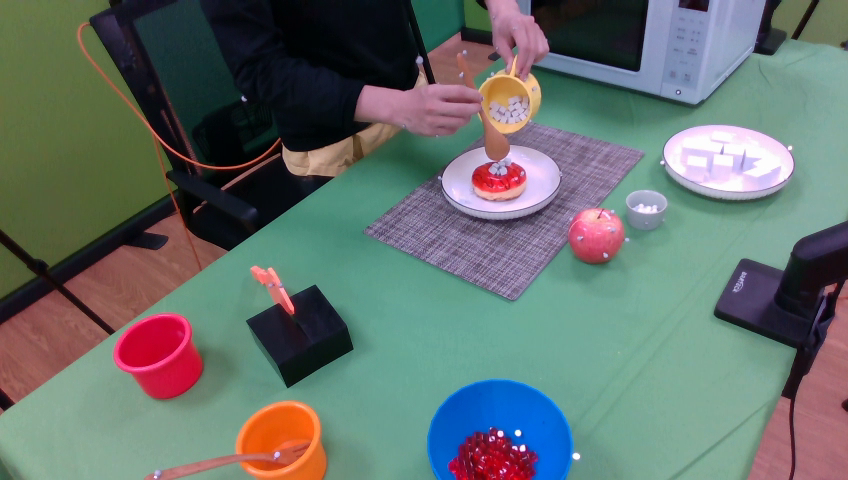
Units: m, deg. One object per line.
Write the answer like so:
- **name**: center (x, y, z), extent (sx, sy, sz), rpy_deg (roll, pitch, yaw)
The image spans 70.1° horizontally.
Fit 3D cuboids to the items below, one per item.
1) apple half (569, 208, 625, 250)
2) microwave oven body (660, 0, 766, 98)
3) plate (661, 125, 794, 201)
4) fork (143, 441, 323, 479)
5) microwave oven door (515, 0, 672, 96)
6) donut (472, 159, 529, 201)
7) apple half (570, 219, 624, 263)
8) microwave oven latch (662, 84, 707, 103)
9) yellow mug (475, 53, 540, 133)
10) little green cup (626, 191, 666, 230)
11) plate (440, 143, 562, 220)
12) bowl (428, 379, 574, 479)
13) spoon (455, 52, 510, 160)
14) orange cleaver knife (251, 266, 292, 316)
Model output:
- **apple half**: center (0.262, -0.014, 0.913), extent (0.080, 0.075, 0.053), rpy_deg (5, 37, 20)
- **microwave oven body**: center (0.472, -0.513, 1.317), extent (0.438, 0.261, 0.327), rpy_deg (26, 51, 34)
- **plate**: center (0.513, -0.128, 1.035), extent (0.207, 0.039, 0.206), rpy_deg (-4, 40, 4)
- **fork**: center (-0.189, 0.231, 0.631), extent (0.028, 0.018, 0.209), rpy_deg (35, 13, 37)
- **microwave oven door**: center (0.343, -0.455, 1.259), extent (0.353, 0.245, 0.039), rpy_deg (26, 51, 33)
- **donut**: center (0.132, -0.105, 1.043), extent (0.099, 0.048, 0.098), rpy_deg (-5, 38, 4)
- **apple half**: center (0.250, 0.009, 0.885), extent (0.081, 0.081, 0.033), rpy_deg (7, 39, 17)
- **microwave oven latch**: center (0.517, -0.296, 1.204), extent (0.078, 0.029, 0.030), rpy_deg (27, 52, 35)
- **yellow mug**: center (0.147, -0.254, 1.035), extent (0.099, 0.131, 0.064), rpy_deg (18, 30, 14)
- **little green cup**: center (0.352, -0.046, 0.963), extent (0.061, 0.039, 0.061), rpy_deg (-4, 40, 4)
- **plate**: center (0.134, -0.098, 1.052), extent (0.209, 0.038, 0.208), rpy_deg (-4, 40, 4)
- **bowl**: center (0.082, 0.233, 0.644), extent (0.151, 0.077, 0.150), rpy_deg (-4, 40, 4)
- **spoon**: center (0.087, -0.202, 0.934), extent (0.041, 0.195, 0.021), rpy_deg (-25, 31, 9)
- **orange cleaver knife**: center (-0.221, 0.071, 0.873), extent (0.012, 0.077, 0.210), rpy_deg (-25, 11, -21)
